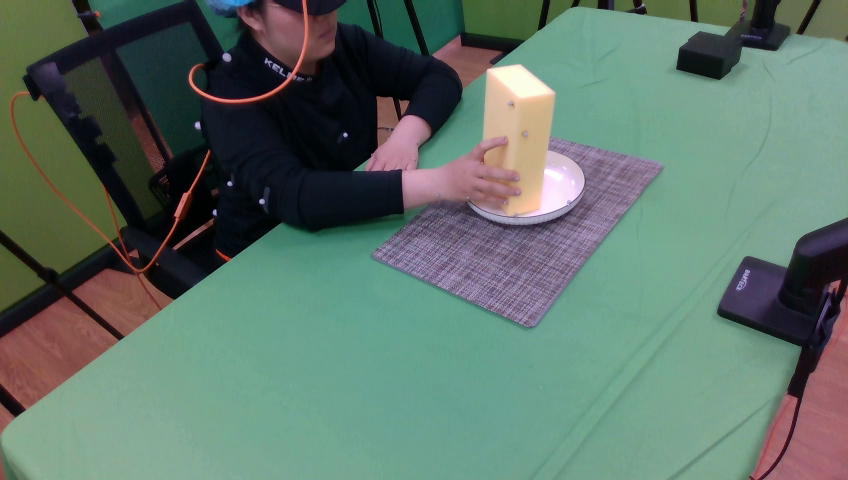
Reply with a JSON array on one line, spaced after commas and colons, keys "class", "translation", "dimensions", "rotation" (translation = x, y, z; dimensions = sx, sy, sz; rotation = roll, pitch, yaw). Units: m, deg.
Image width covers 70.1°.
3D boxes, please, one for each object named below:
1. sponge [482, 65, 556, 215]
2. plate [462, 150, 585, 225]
[{"class": "sponge", "translation": [0.148, -0.160, 0.981], "dimensions": [0.061, 0.207, 0.117], "rotation": [-12, 38, -15]}, {"class": "plate", "translation": [0.170, -0.089, 1.041], "dimensions": [0.207, 0.039, 0.206], "rotation": [-5, 40, 5]}]
